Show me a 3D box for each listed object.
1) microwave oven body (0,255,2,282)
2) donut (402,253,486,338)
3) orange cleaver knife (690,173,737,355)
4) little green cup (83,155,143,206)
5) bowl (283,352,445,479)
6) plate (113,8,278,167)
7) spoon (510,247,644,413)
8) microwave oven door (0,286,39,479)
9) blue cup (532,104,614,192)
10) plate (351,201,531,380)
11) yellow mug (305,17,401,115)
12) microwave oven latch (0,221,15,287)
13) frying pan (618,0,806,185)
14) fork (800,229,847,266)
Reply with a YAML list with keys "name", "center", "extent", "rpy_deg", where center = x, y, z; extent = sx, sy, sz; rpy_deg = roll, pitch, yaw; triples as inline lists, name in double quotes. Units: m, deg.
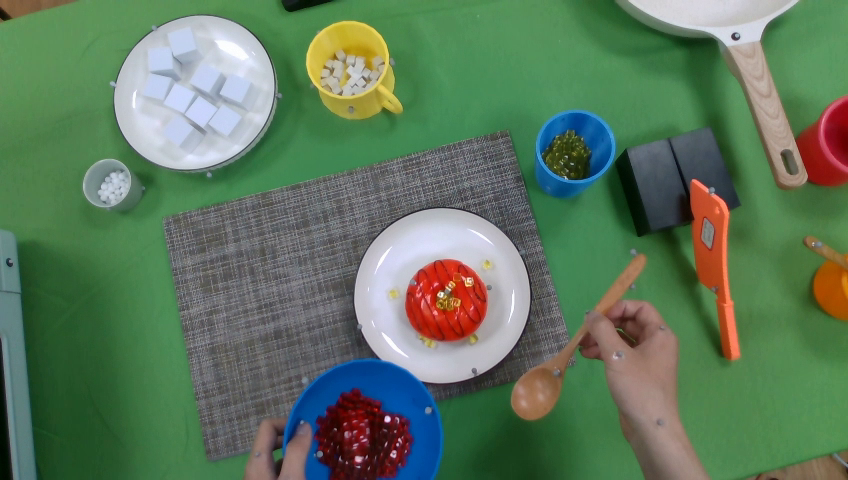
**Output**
- name: "microwave oven body"
  center: [-0.633, 0.202, 0.612]
  extent: [0.326, 0.261, 0.440]
  rpy_deg: [-11, 81, 1]
- name: "donut"
  center: [0.023, 0.065, 0.702]
  extent: [0.099, 0.048, 0.099]
  rpy_deg: [0, 84, 3]
- name: "orange cleaver knife"
  center: [0.326, 0.029, 0.686]
  extent: [0.012, 0.076, 0.212]
  rpy_deg: [-15, 109, 1]
- name: "little green cup"
  center: [-0.386, -0.071, 0.756]
  extent: [0.061, 0.039, 0.061]
  rpy_deg: [0, 82, 2]
- name: "bowl"
  center: [-0.065, 0.186, 0.594]
  extent: [0.152, 0.077, 0.151]
  rpy_deg: [3, 79, -17]
- name: "plate"
  center: [-0.285, -0.191, 0.772]
  extent: [0.207, 0.039, 0.207]
  rpy_deg: [0, 81, 3]
- name: "spoon"
  center: [0.146, 0.086, 0.573]
  extent: [0.041, 0.022, 0.194]
  rpy_deg: [41, 107, 25]
- name: "microwave oven door"
  center: [-0.482, 0.213, 0.598]
  extent: [0.039, 0.244, 0.354]
  rpy_deg: [-12, 81, 1]
- name: "blue cup"
  center: [0.164, -0.098, 0.703]
  extent: [0.092, 0.100, 0.092]
  rpy_deg: [0, 79, 2]
- name: "plate"
  center: [0.019, 0.059, 0.715]
  extent: [0.209, 0.038, 0.208]
  rpy_deg: [0, 82, 3]
- name: "yellow mug"
  center: [-0.079, -0.205, 0.750]
  extent: [0.130, 0.064, 0.100]
  rpy_deg: [38, 85, 7]
- name: "microwave oven latch"
  center: [-0.517, 0.017, 0.732]
  extent: [0.030, 0.029, 0.079]
  rpy_deg: [-9, 82, 1]
- name: "frying pan"
  center: [0.356, -0.290, 0.721]
  extent: [0.307, 0.103, 0.484]
  rpy_deg: [-10, 73, 2]
- name: "fork"
  center: [0.448, 0.024, 0.646]
  extent: [0.209, 0.018, 0.028]
  rpy_deg: [22, 80, -38]
